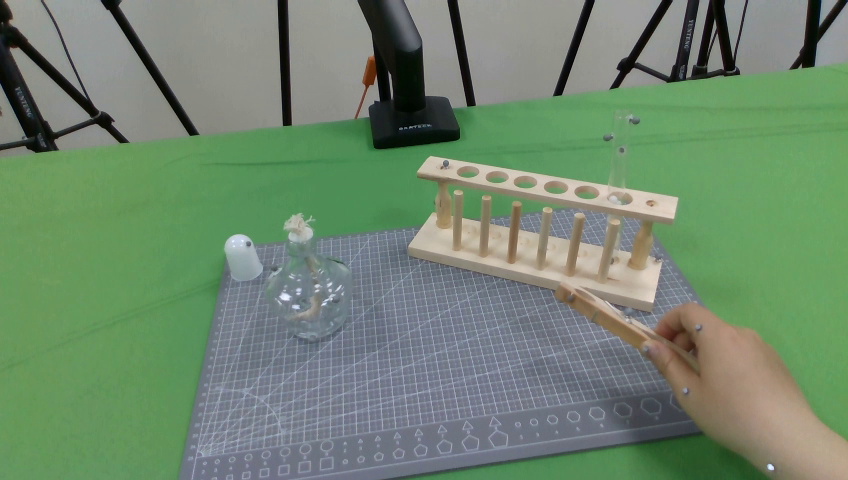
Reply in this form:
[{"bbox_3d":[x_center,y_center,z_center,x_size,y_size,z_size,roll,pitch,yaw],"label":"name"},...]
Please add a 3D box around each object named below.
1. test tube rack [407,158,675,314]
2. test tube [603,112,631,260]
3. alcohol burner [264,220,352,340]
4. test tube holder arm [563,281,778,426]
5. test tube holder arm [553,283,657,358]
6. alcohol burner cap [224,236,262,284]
[{"bbox_3d":[0.104,-0.009,0.586,0.241,0.086,0.066,13,41,20],"label":"test tube rack"},{"bbox_3d":[0.172,-0.044,0.544,0.017,0.151,0.017,-6,36,4],"label":"test tube"},{"bbox_3d":[-0.103,0.030,0.530,0.078,0.120,0.077,-1,39,1],"label":"alcohol burner"},{"bbox_3d":[0.180,0.083,0.464,0.177,0.015,0.013,32,36,22],"label":"test tube holder arm"},{"bbox_3d":[0.142,0.063,0.477,0.087,0.015,0.010,33,36,23],"label":"test tube holder arm"},{"bbox_3d":[-0.184,0.017,0.611,0.034,0.048,0.033,-1,39,1],"label":"alcohol burner cap"}]
